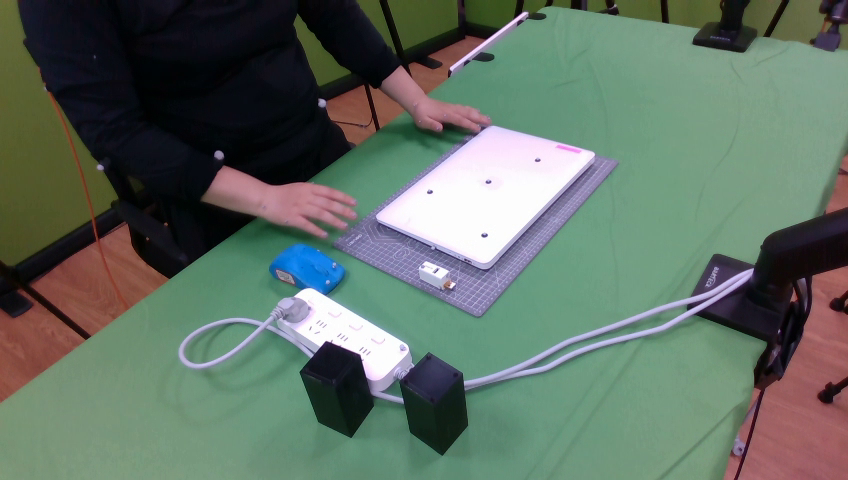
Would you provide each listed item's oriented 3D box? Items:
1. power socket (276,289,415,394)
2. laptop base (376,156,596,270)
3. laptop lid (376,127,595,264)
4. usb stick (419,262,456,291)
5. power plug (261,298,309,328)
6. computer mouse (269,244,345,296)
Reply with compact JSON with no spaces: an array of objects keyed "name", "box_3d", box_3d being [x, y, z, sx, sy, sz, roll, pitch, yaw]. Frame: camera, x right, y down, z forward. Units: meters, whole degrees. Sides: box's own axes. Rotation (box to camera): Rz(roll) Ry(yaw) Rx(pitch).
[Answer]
[{"name":"power socket","box_3d":[-0.114,0.133,0.820,0.225,0.033,0.072,25,49,33]},{"name":"laptop base","box_3d":[0.115,-0.086,1.056,0.233,0.023,0.355,21,48,34]},{"name":"laptop lid","box_3d":[0.112,-0.096,1.050,0.239,0.013,0.358,24,49,34]},{"name":"usb stick","box_3d":[0.021,0.056,0.892,0.058,0.027,0.021,25,47,30]},{"name":"power plug","box_3d":[-0.193,0.107,0.831,0.073,0.053,0.035,-32,43,-25]},{"name":"computer mouse","box_3d":[-0.182,0.044,0.933,0.116,0.041,0.063,23,46,25]}]
